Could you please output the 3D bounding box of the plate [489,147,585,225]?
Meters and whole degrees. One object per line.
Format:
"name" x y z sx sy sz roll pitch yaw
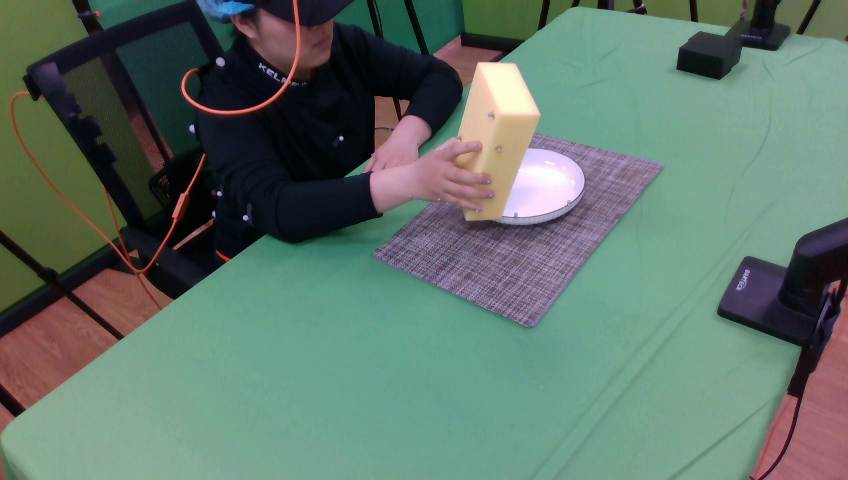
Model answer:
"plate" 0.170 -0.089 1.041 0.207 0.039 0.206 -5 40 5

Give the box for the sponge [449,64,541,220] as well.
"sponge" 0.099 -0.142 0.908 0.061 0.207 0.117 -3 49 -16
